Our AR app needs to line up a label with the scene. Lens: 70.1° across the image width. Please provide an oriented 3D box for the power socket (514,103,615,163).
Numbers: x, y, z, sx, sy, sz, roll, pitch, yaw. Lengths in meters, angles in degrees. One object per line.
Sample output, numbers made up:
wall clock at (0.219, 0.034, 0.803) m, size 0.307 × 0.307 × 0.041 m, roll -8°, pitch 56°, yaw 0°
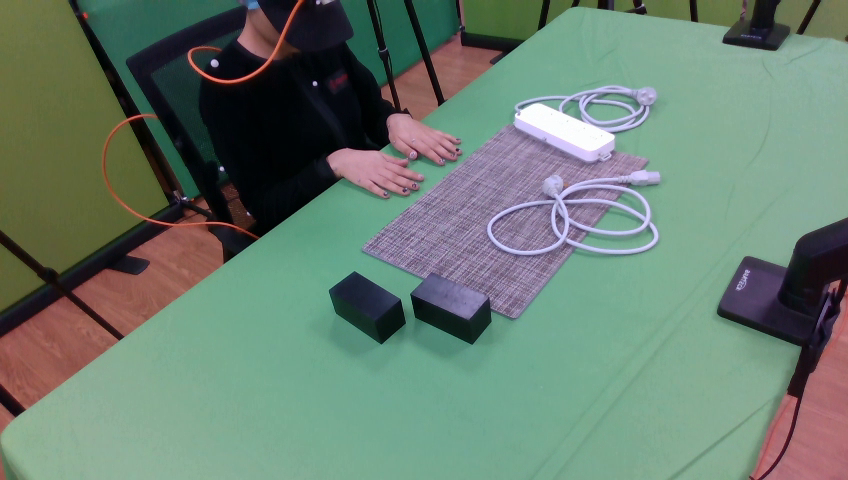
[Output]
power socket at (0.268, -0.209, 1.165) m, size 0.072 × 0.033 × 0.224 m, roll -30°, pitch 44°, yaw -23°

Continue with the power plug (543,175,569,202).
power plug at (0.229, -0.080, 1.024) m, size 0.053 × 0.035 × 0.072 m, roll 2°, pitch 49°, yaw -26°
